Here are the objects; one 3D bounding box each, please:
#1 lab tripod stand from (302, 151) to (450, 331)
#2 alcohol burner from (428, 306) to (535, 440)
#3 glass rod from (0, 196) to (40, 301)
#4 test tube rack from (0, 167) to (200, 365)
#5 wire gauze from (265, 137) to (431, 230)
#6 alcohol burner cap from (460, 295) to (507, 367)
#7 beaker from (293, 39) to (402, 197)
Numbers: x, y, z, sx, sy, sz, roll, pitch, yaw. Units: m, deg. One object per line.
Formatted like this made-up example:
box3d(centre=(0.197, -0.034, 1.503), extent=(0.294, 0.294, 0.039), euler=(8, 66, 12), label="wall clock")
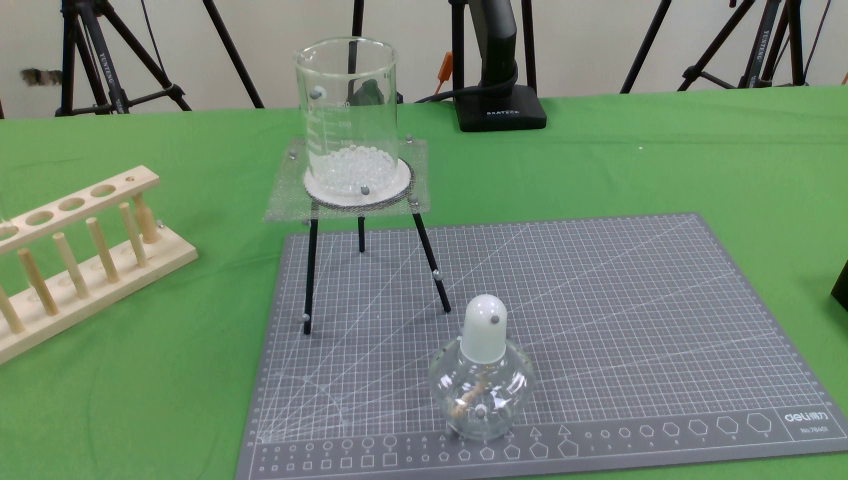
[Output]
box3d(centre=(-0.047, 0.000, 0.527), extent=(0.148, 0.132, 0.147), euler=(1, 37, 0), label="lab tripod stand")
box3d(centre=(0.041, 0.087, 0.429), extent=(0.078, 0.120, 0.077), euler=(0, 40, 0), label="alcohol burner")
box3d(centre=(-0.359, -0.031, 0.510), extent=(0.008, 0.201, 0.008), euler=(0, 30, 0), label="glass rod")
box3d(centre=(-0.335, 0.028, 0.541), extent=(0.066, 0.086, 0.242), euler=(28, 46, 33), label="test tube rack")
box3d(centre=(-0.057, -0.051, 0.484), extent=(0.121, 0.011, 0.124), euler=(-1, 40, -1), label="wire gauze")
box3d(centre=(0.042, 0.058, 0.407), extent=(0.034, 0.048, 0.033), euler=(1, 39, -1), label="alcohol burner cap")
box3d(centre=(-0.058, -0.090, 0.456), extent=(0.083, 0.101, 0.074), euler=(22, 43, 25), label="beaker")
